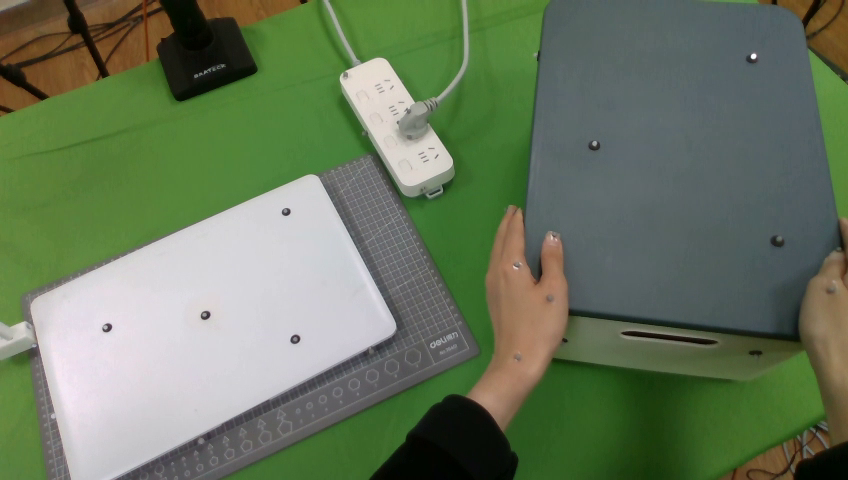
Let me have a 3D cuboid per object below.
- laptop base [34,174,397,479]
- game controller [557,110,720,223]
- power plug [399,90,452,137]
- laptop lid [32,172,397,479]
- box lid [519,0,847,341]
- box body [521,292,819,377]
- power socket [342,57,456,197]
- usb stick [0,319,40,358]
[{"bbox_3d":[-0.233,0.085,0.672,0.354,0.023,0.233,-26,67,-10],"label":"laptop base"},{"bbox_3d":[0.226,-0.084,0.627,0.154,0.052,0.096,19,59,14],"label":"game controller"},{"bbox_3d":[0.004,-0.147,0.743,0.072,0.053,0.035,-15,61,-5],"label":"power plug"},{"bbox_3d":[-0.233,0.081,0.661,0.357,0.013,0.239,-25,66,-9],"label":"laptop lid"},{"bbox_3d":[0.232,-0.095,0.561,0.263,0.015,0.368,6,63,7],"label":"box lid"},{"bbox_3d":[0.237,-0.055,0.629,0.254,0.162,0.361,6,63,7],"label":"box body"},{"bbox_3d":[-0.035,-0.149,0.772,0.072,0.033,0.224,-25,63,-10],"label":"power socket"},{"bbox_3d":[-0.441,0.105,0.662,0.059,0.027,0.021,-22,57,-11],"label":"usb stick"}]
